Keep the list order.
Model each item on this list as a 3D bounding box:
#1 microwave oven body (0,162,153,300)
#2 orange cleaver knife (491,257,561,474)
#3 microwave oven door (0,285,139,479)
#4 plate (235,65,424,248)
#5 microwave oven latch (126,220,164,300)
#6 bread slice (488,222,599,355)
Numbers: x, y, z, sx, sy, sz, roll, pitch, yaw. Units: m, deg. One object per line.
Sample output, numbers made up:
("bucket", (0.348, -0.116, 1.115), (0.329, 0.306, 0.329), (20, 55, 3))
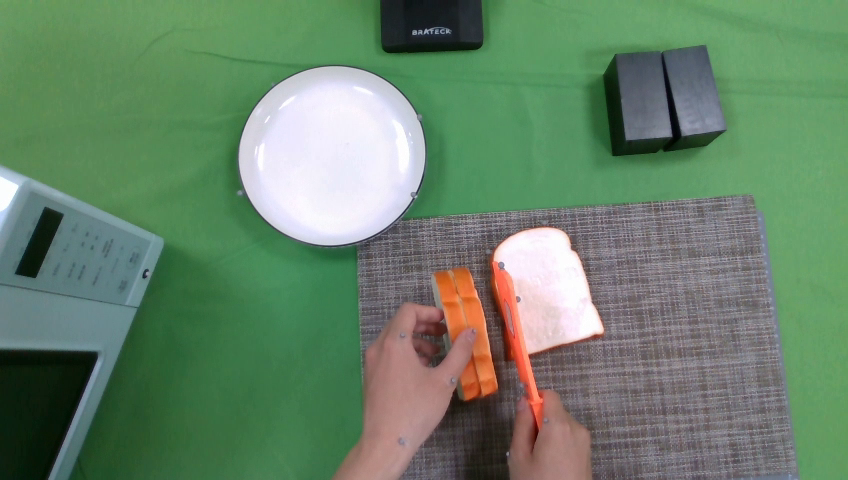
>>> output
("microwave oven body", (-0.501, 0.125, 0.525), (0.326, 0.261, 0.440), (18, 81, 3))
("orange cleaver knife", (0.096, 0.118, 0.592), (0.012, 0.077, 0.211), (-14, 89, -4))
("microwave oven door", (-0.376, 0.208, 0.506), (0.039, 0.244, 0.354), (18, 81, 4))
("plate", (-0.103, -0.092, 0.677), (0.208, 0.039, 0.207), (0, 80, 0))
("microwave oven latch", (-0.304, 0.022, 0.640), (0.030, 0.029, 0.079), (20, 82, 3))
("bread slice", (0.128, 0.049, 0.660), (0.107, 0.018, 0.134), (-12, 89, -7))
